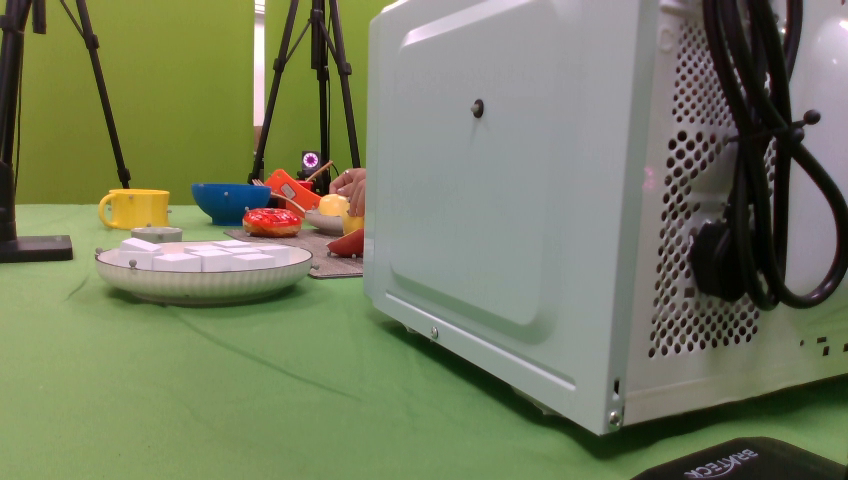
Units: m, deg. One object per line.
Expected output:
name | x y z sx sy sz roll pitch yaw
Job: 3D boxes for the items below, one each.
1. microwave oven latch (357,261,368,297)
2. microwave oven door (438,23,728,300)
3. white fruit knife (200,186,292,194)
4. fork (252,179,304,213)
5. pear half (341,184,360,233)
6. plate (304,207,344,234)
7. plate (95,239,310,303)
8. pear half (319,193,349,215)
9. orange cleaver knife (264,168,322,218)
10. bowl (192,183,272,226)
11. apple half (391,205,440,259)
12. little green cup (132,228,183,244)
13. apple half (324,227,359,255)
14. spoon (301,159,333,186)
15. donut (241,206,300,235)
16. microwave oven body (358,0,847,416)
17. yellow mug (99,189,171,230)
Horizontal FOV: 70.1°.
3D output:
microwave oven latch | -0.019 0.033 0.531 0.079 0.029 0.030 -1 7 -27
microwave oven door | 0.181 -0.072 0.621 0.358 0.243 0.039 -2 8 -29
white fruit knife | -0.399 -0.111 1.368 0.208 0.016 0.027 -4 -19 -30
fork | -0.295 -0.084 1.292 0.206 0.018 0.028 29 12 25
pear half | -0.082 -0.049 0.918 0.056 0.110 0.076 9 13 29
plate | -0.123 -0.037 1.149 0.209 0.038 0.209 2 7 0
plate | -0.224 0.031 0.629 0.208 0.039 0.207 2 7 0
pear half | -0.161 -0.067 1.183 0.088 0.070 0.031 14 -30 -13
orange cleaver knife | -0.262 -0.088 1.353 0.211 0.077 0.012 28 13 -1
bowl | -0.381 -0.071 1.202 0.151 0.077 0.151 3 7 0
apple half | -0.005 -0.009 0.837 0.053 0.074 0.081 10 6 23
little green cup | -0.342 0.006 0.779 0.061 0.038 0.061 2 8 0
apple half | -0.095 0.002 0.848 0.081 0.033 0.081 -21 -1 0
spoon | -0.316 -0.159 1.639 0.194 0.022 0.041 -49 33 -20
donut | -0.263 -0.032 1.039 0.099 0.048 0.099 4 10 0
microwave oven body | 0.211 -0.047 0.474 0.444 0.260 0.324 -1 7 -28
yellow mug | -0.519 -0.055 1.080 0.099 0.064 0.131 7 10 26
